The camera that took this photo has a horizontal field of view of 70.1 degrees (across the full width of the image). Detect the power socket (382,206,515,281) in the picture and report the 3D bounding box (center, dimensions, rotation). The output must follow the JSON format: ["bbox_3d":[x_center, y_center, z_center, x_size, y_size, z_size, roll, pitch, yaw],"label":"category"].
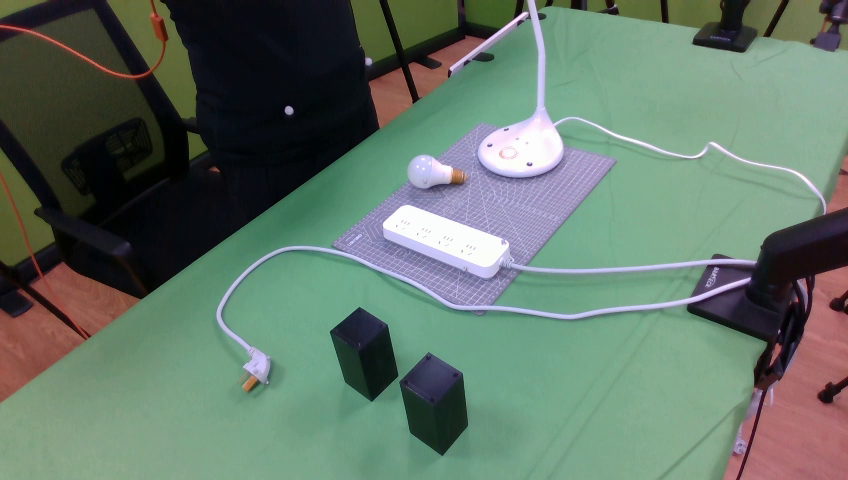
[{"bbox_3d":[0.032,0.002,0.950,0.225,0.033,0.072,21,49,29],"label":"power socket"}]

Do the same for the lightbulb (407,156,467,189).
[{"bbox_3d":[0.023,-0.117,1.081,0.108,0.059,0.059,8,40,-7],"label":"lightbulb"}]

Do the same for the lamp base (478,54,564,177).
[{"bbox_3d":[0.180,-0.232,1.090,0.159,0.181,0.180,21,45,30],"label":"lamp base"}]

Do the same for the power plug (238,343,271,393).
[{"bbox_3d":[-0.229,0.172,0.801,0.072,0.035,0.053,8,51,51],"label":"power plug"}]
